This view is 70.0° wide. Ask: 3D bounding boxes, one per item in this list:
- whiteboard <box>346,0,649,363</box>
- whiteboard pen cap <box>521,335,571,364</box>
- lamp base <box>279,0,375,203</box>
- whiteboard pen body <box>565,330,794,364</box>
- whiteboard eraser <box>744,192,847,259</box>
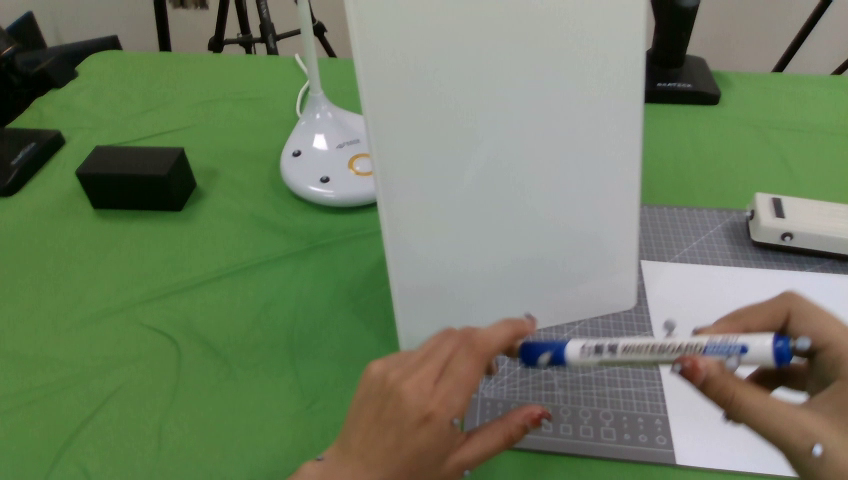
[{"bbox_3d":[0.056,-0.081,0.523,0.217,0.307,0.142,-10,25,-8],"label":"whiteboard"},{"bbox_3d":[0.077,0.066,0.370,0.033,0.018,0.018,-12,32,38],"label":"whiteboard pen cap"},{"bbox_3d":[-0.097,-0.158,0.659,0.160,0.182,0.177,-31,48,-28],"label":"lamp base"},{"bbox_3d":[0.122,0.060,0.332,0.140,0.017,0.017,-10,32,40],"label":"whiteboard pen body"},{"bbox_3d":[0.373,-0.012,0.588,0.112,0.042,0.055,9,43,11],"label":"whiteboard eraser"}]
